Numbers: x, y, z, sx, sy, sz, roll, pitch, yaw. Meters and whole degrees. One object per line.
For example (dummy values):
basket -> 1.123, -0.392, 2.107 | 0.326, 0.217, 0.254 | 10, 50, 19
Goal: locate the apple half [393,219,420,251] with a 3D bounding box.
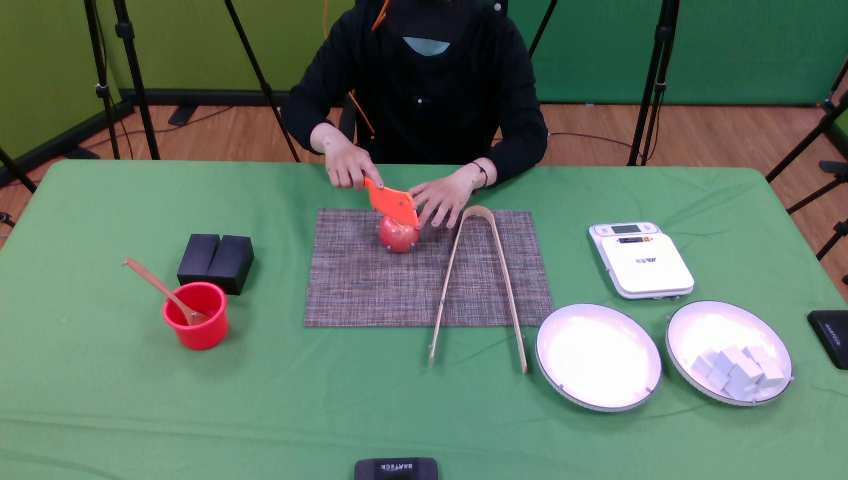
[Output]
apple half -> -0.038, -0.022, 1.175 | 0.053, 0.075, 0.080 | -28, 51, -32

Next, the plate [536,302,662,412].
plate -> 0.288, 0.197, 1.016 | 0.209, 0.038, 0.208 | 2, 46, -2

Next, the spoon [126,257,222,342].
spoon -> -0.408, 0.096, 0.990 | 0.194, 0.021, 0.041 | 50, 54, -18

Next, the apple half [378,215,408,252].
apple half -> -0.067, -0.004, 1.155 | 0.033, 0.081, 0.081 | -31, 56, -30

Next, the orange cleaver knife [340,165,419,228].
orange cleaver knife -> -0.086, -0.084, 1.142 | 0.210, 0.077, 0.012 | 29, 48, 36

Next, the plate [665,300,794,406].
plate -> 0.513, 0.194, 1.034 | 0.208, 0.039, 0.206 | 2, 46, -2

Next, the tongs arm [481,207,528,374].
tongs arm -> 0.149, 0.077, 1.124 | 0.028, 0.028, 0.385 | -4, 46, -2

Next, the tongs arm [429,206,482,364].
tongs arm -> 0.064, 0.069, 1.124 | 0.051, 0.026, 0.382 | 8, 45, 5

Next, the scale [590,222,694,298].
scale -> 0.424, 0.031, 1.189 | 0.149, 0.032, 0.199 | -3, 46, -7
